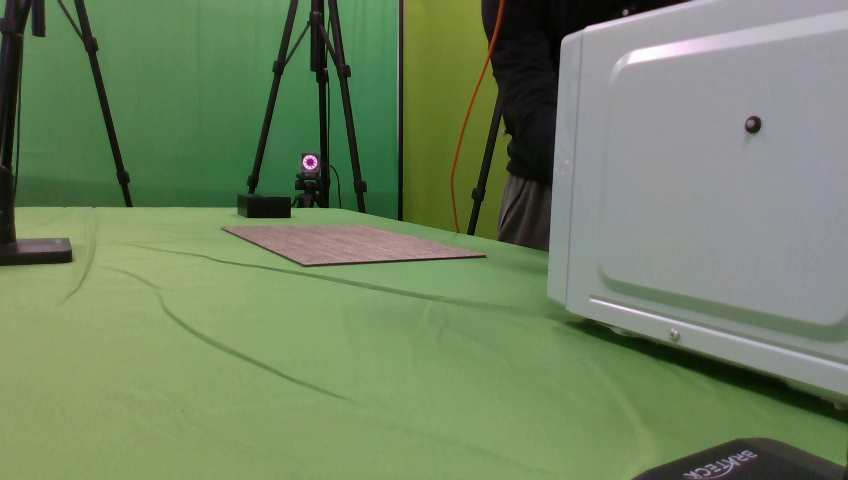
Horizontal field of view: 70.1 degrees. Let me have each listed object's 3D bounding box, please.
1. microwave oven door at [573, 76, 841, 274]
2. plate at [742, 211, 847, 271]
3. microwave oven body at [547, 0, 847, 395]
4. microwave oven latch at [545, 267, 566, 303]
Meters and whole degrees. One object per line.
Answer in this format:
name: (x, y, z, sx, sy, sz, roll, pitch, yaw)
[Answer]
microwave oven door: (0.377, -0.095, 0.865, 0.039, 0.243, 0.354, -4, 9, -41)
plate: (0.406, 0.002, 0.555, 0.209, 0.038, 0.209, 3, 9, 0)
microwave oven body: (0.379, -0.046, 0.510, 0.444, 0.260, 0.324, -2, 7, -31)
microwave oven latch: (0.148, 0.039, 0.555, 0.079, 0.029, 0.030, -1, 7, -28)
